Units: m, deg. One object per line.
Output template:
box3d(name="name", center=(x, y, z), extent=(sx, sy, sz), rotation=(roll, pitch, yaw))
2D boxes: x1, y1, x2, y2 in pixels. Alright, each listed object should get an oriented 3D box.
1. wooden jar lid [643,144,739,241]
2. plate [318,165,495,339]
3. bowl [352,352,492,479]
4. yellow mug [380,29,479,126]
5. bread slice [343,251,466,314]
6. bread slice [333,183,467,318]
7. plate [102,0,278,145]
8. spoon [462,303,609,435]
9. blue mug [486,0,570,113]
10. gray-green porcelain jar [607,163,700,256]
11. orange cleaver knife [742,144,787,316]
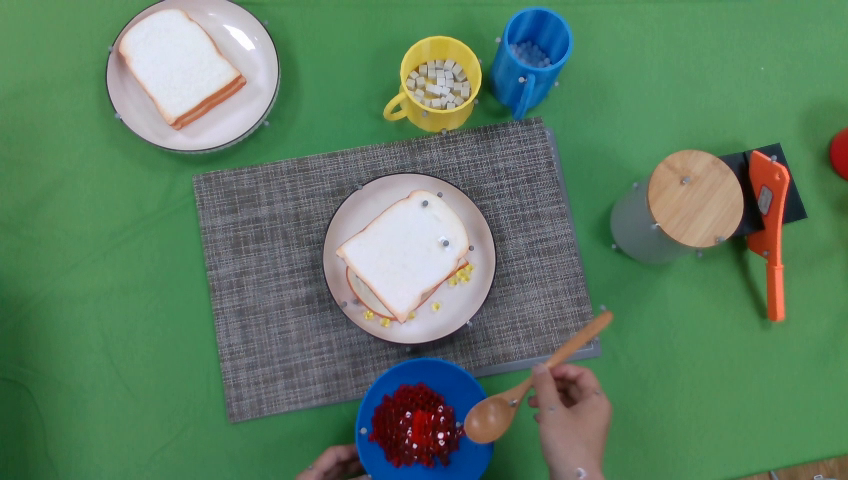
box3d(name="wooden jar lid", center=(0.287, -0.051, 0.658), extent=(0.108, 0.021, 0.108), rotation=(1, 82, -7))
box3d(name="plate", center=(-0.021, 0.014, 0.727), extent=(0.209, 0.038, 0.208), rotation=(1, 80, -4))
box3d(name="bowl", center=(-0.003, 0.200, 0.679), extent=(0.151, 0.077, 0.151), rotation=(1, 80, -4))
box3d(name="yellow mug", center=(0.002, -0.194, 0.756), extent=(0.131, 0.064, 0.099), rotation=(-31, 83, -8))
box3d(name="bread slice", center=(-0.029, 0.024, 0.728), extent=(0.131, 0.019, 0.104), rotation=(-43, 85, -12))
box3d(name="bread slice", center=(-0.020, 0.002, 0.669), extent=(0.107, 0.018, 0.134), rotation=(45, 73, -3))
box3d(name="plate", center=(-0.284, -0.213, 0.751), extent=(0.208, 0.039, 0.207), rotation=(1, 80, -4))
box3d(name="spoon", center=(0.116, 0.131, 0.621), extent=(0.194, 0.022, 0.041), rotation=(-43, 55, 6))
box3d(name="blue mug", center=(0.123, -0.215, 0.749), extent=(0.082, 0.106, 0.116), rotation=(11, 79, -2))
box3d(name="gray-green porcelain jar", center=(0.284, -0.038, 0.719), extent=(0.106, 0.127, 0.105), rotation=(1, 80, -4))
box3d(name="orange cleaver knife", center=(0.416, -0.011, 0.746), extent=(0.012, 0.076, 0.212), rotation=(-11, 107, -6))
